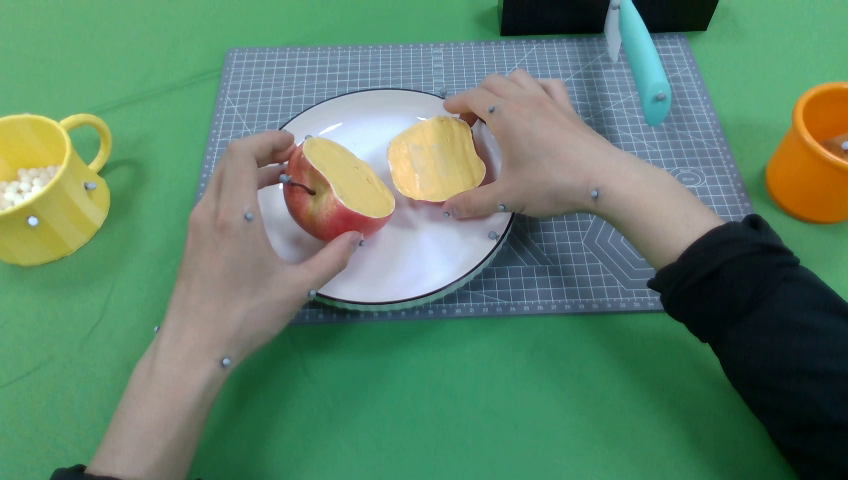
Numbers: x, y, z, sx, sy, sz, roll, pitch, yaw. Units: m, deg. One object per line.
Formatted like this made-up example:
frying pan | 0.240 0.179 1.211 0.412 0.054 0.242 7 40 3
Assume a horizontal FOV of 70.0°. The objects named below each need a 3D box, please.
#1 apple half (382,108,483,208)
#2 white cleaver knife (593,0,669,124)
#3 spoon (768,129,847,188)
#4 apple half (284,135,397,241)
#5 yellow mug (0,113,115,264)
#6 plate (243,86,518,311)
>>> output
apple half | 0.007 -0.061 0.482 0.081 0.033 0.081 -1 85 11
white cleaver knife | 0.180 -0.208 0.561 0.021 0.066 0.283 -4 54 5
spoon | 0.351 -0.094 0.440 0.022 0.194 0.041 24 45 -36
apple half | -0.065 -0.031 0.440 0.080 0.053 0.075 46 26 11
yellow mug | -0.300 -0.051 0.476 0.099 0.064 0.130 29 62 18
plate | -0.033 -0.035 0.474 0.209 0.038 0.207 0 58 1
